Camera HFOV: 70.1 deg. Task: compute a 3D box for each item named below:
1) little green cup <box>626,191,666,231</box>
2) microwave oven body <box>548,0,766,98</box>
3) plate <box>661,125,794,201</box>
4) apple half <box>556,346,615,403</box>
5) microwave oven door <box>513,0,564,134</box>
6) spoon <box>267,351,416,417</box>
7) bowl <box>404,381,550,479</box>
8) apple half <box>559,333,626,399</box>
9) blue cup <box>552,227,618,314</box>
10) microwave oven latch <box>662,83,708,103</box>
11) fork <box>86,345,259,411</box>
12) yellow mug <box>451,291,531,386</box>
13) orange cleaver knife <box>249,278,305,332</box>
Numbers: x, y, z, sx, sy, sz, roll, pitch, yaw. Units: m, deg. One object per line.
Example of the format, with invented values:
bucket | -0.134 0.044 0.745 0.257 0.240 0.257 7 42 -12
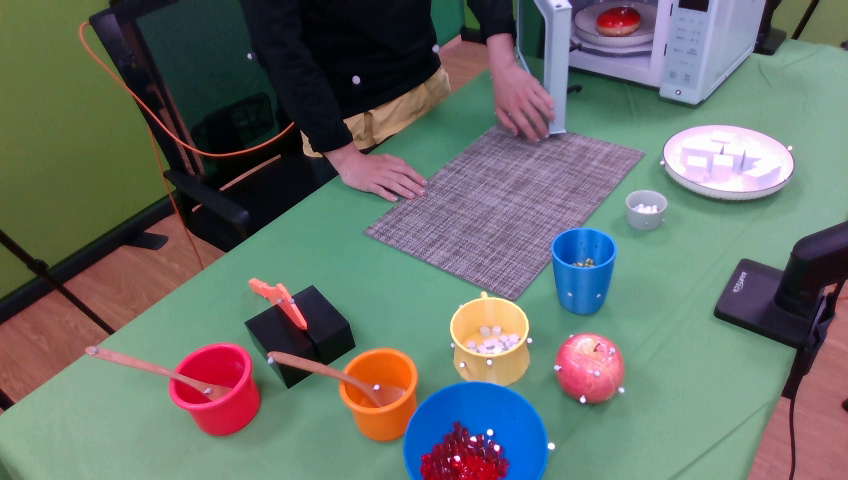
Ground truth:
little green cup | 0.352 -0.046 0.963 0.061 0.039 0.061 -4 40 4
microwave oven body | 0.472 -0.513 1.317 0.438 0.261 0.327 26 51 34
plate | 0.513 -0.128 1.035 0.207 0.039 0.206 -4 40 4
apple half | 0.181 0.167 0.709 0.080 0.081 0.033 30 50 36
microwave oven door | 0.227 -0.408 1.223 0.039 0.245 0.353 -7 40 0
spoon | -0.091 0.163 0.699 0.021 0.195 0.041 -44 30 27
bowl | 0.058 0.235 0.645 0.151 0.077 0.150 -4 39 4
apple half | 0.209 0.147 0.730 0.080 0.075 0.053 26 48 38
blue cup | 0.218 0.047 0.826 0.092 0.101 0.092 -6 40 5
microwave oven latch | 0.518 -0.297 1.204 0.078 0.029 0.030 29 53 36
fork | -0.298 0.167 0.728 0.209 0.018 0.028 28 46 -23
yellow mug | 0.085 0.120 0.786 0.100 0.064 0.130 -7 39 1
orange cleaver knife | -0.210 0.089 0.855 0.012 0.077 0.210 -28 15 -25
